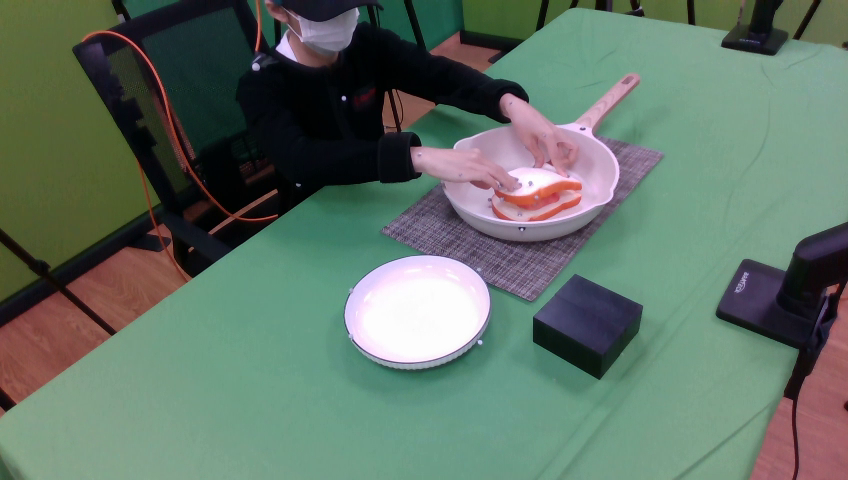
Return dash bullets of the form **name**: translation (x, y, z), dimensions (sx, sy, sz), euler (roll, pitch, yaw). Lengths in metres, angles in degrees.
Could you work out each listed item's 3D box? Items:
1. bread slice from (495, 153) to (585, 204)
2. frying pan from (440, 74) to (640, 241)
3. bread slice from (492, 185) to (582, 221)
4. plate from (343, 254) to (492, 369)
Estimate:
- **bread slice**: translation (0.181, -0.101, 0.987), dimensions (0.132, 0.019, 0.104), euler (-35, 33, -23)
- **frying pan**: translation (0.245, -0.161, 1.059), dimensions (0.304, 0.103, 0.489), euler (30, 61, 35)
- **bread slice**: translation (0.183, -0.065, 1.017), dimensions (0.135, 0.018, 0.106), euler (-27, 43, -24)
- **plate**: translation (-0.008, 0.100, 0.847), dimensions (0.207, 0.039, 0.206), euler (-4, 40, 4)
